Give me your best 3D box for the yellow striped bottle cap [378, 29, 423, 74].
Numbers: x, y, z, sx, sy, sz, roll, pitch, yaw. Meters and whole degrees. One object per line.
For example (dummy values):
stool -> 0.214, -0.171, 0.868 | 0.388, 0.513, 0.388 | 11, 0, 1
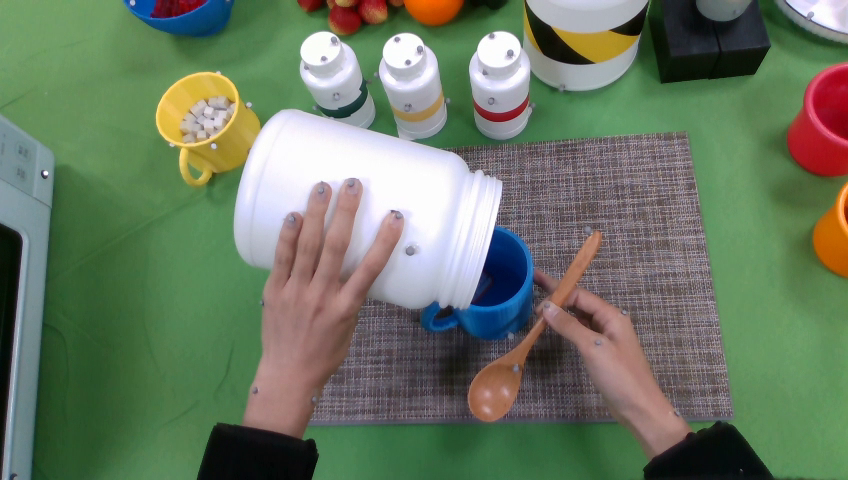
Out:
yellow striped bottle cap -> -0.024, -0.191, 0.614 | 0.044, 0.019, 0.044 | -2, 68, 5

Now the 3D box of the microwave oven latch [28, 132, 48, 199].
microwave oven latch -> -0.469, -0.087, 0.720 | 0.030, 0.030, 0.078 | -10, 69, 4

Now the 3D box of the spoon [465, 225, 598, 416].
spoon -> 0.096, 0.071, 0.525 | 0.041, 0.021, 0.194 | 32, 103, 2

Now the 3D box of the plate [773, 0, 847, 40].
plate -> 0.485, -0.308, 0.683 | 0.209, 0.038, 0.207 | -3, 70, 7

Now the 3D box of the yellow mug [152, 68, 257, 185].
yellow mug -> -0.260, -0.127, 0.710 | 0.100, 0.064, 0.130 | 7, 71, 11

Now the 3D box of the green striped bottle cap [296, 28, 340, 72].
green striped bottle cap -> -0.110, -0.197, 0.629 | 0.044, 0.020, 0.044 | -2, 68, 6

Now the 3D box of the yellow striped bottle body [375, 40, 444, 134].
yellow striped bottle body -> -0.016, -0.173, 0.662 | 0.063, 0.121, 0.062 | -3, 69, 8

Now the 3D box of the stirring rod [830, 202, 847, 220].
stirring rod -> 0.404, 0.003, 0.527 | 0.014, 0.006, 0.175 | 0, 27, 5

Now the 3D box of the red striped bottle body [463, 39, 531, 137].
red striped bottle body -> 0.079, -0.168, 0.647 | 0.063, 0.121, 0.062 | -6, 65, 13

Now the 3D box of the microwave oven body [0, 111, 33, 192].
microwave oven body -> -0.599, 0.071, 0.577 | 0.326, 0.262, 0.438 | -12, 69, 4

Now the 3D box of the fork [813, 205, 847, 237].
fork -> 0.433, 0.003, 0.515 | 0.028, 0.019, 0.205 | -39, 25, -7

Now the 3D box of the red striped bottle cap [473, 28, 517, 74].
red striped bottle cap -> 0.070, -0.187, 0.598 | 0.044, 0.018, 0.044 | -1, 68, 4

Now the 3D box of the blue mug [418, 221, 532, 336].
blue mug -> 0.046, 0.048, 0.574 | 0.116, 0.107, 0.081 | -32, 67, -5

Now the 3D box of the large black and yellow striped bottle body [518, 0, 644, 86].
large black and yellow striped bottle body -> 0.165, -0.265, 0.636 | 0.130, 0.185, 0.130 | -3, 69, 8

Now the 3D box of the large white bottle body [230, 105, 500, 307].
large white bottle body -> -0.042, -0.022, 0.483 | 0.185, 0.131, 0.130 | 16, 72, 0

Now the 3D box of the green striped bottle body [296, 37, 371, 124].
green striped bottle body -> -0.101, -0.179, 0.677 | 0.063, 0.120, 0.062 | -2, 69, 7

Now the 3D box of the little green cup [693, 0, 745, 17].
little green cup -> 0.315, -0.269, 0.639 | 0.061, 0.039, 0.061 | -2, 67, 5

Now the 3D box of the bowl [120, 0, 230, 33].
bowl -> -0.306, -0.323, 0.783 | 0.151, 0.077, 0.150 | -3, 70, 7

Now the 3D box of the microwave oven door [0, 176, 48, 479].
microwave oven door -> -0.450, 0.079, 0.547 | 0.039, 0.245, 0.353 | -12, 68, 4
